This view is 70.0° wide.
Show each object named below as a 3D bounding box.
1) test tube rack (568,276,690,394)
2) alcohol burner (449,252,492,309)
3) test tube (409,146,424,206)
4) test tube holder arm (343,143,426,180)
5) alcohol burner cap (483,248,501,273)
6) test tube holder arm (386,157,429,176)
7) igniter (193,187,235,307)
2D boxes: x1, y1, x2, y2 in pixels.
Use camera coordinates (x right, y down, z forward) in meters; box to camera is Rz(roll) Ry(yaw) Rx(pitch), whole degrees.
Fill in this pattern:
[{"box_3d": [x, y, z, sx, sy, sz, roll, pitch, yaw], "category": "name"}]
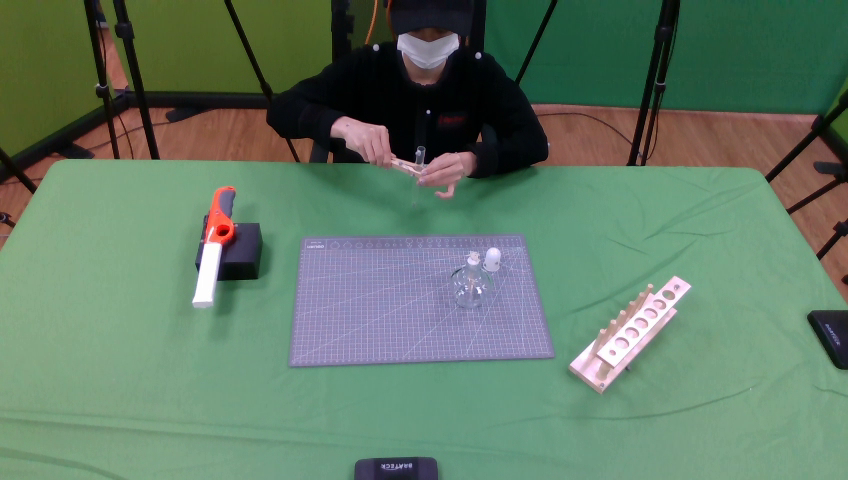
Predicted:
[{"box_3d": [0.353, 0.149, 1.039, 0.242, 0.085, 0.066, -34, 56, -31], "category": "test tube rack"}, {"box_3d": [0.084, 0.066, 1.073, 0.078, 0.120, 0.077, 1, 44, -1], "category": "alcohol burner"}, {"box_3d": [-0.014, -0.121, 1.173, 0.017, 0.151, 0.017, 4, 49, -5], "category": "test tube"}, {"box_3d": [-0.077, -0.153, 1.172, 0.178, 0.015, 0.013, 21, 49, 12], "category": "test tube holder arm"}, {"box_3d": [0.130, 0.037, 1.156, 0.034, 0.048, 0.033, 1, 46, -1], "category": "alcohol burner cap"}, {"box_3d": [-0.033, -0.142, 1.168, 0.088, 0.015, 0.010, 15, 48, 7], "category": "test tube holder arm"}, {"box_3d": [-0.379, 0.003, 1.096, 0.057, 0.025, 0.274, -1, 49, -6], "category": "igniter"}]
